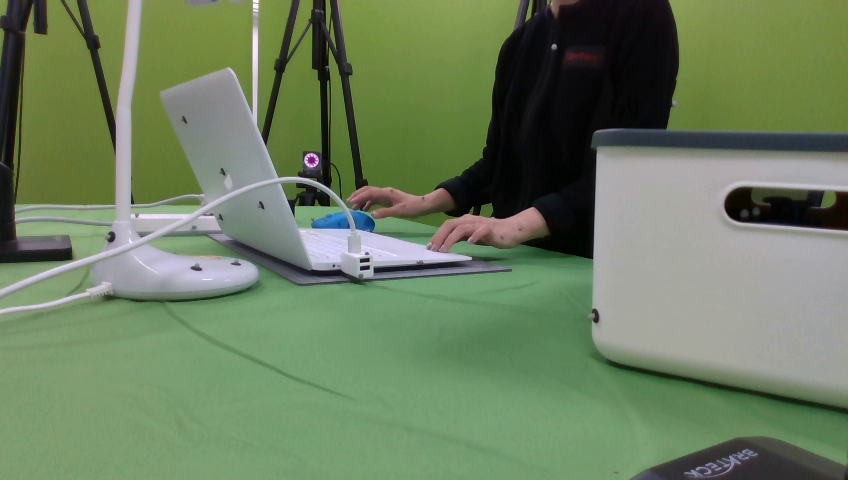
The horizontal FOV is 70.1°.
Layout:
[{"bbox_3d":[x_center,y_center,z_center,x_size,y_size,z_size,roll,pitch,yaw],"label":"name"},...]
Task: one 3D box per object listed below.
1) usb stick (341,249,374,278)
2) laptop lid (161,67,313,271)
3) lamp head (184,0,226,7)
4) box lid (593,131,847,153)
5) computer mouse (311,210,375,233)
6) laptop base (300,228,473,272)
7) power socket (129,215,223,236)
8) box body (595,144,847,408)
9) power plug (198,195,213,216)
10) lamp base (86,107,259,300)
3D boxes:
[{"bbox_3d":[-0.079,0.026,0.687,0.021,0.027,0.059,-8,9,-30],"label":"usb stick"},{"bbox_3d":[-0.255,-0.090,0.782,0.013,0.242,0.355,-29,24,-28],"label":"laptop lid"},{"bbox_3d":[-0.229,-0.320,0.627,0.112,0.112,0.123,6,-35,26],"label":"lamp head"},{"bbox_3d":[0.311,-0.067,0.498,0.262,0.015,0.373,6,7,30],"label":"box lid"},{"bbox_3d":[-0.153,-0.034,1.140,0.118,0.041,0.062,-6,12,-28],"label":"computer mouse"},{"bbox_3d":[-0.124,0.011,0.889,0.237,0.023,0.352,2,6,-35],"label":"laptop base"},{"bbox_3d":[-0.397,-0.028,1.048,0.228,0.032,0.072,-3,7,-35],"label":"power socket"},{"bbox_3d":[0.309,0.007,0.508,0.253,0.160,0.366,6,8,30],"label":"box body"},{"bbox_3d":[-0.385,-0.055,1.088,0.035,0.052,0.072,-2,6,-24],"label":"power plug"},{"bbox_3d":[-0.254,-0.039,0.603,0.160,0.180,0.179,4,10,18],"label":"lamp base"}]
